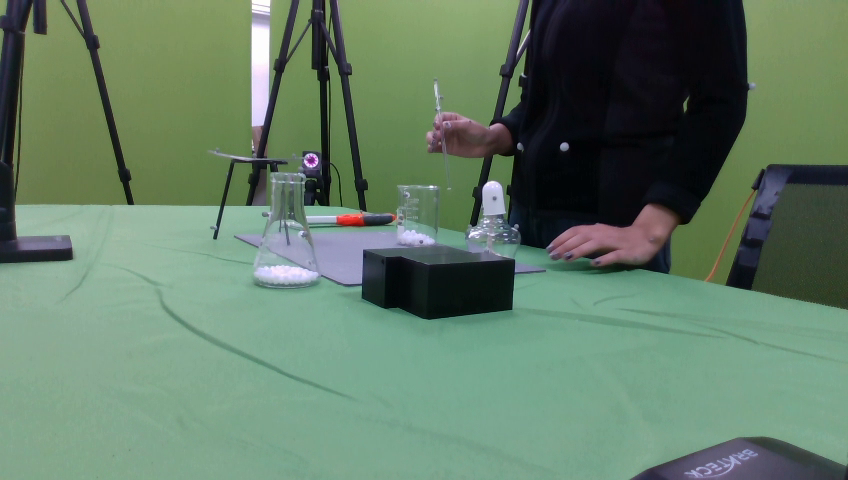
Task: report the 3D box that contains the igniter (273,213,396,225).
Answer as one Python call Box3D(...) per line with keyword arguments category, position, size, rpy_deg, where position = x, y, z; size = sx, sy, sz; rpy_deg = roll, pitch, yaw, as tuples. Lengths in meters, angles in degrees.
Box3D(category="igniter", position=(-0.179, -0.044, 1.258), size=(0.278, 0.025, 0.057), rpy_deg=(-3, -2, -39))

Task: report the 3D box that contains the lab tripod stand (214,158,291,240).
Box3D(category="lab tripod stand", position=(-0.268, -0.068, 1.002), size=(0.148, 0.131, 0.148), rpy_deg=(3, 6, 0))

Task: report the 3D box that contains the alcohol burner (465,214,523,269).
Box3D(category="alcohol burner", position=(0.094, -0.022, 0.815), size=(0.078, 0.119, 0.078), rpy_deg=(0, 7, 0))

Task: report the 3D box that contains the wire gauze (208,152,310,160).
Box3D(category="wire gauze", position=(-0.270, -0.135, 0.993), size=(0.124, 0.011, 0.122), rpy_deg=(8, 8, 41))

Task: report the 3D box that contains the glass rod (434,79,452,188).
Box3D(category="glass rod", position=(0.033, -0.185, 1.046), size=(0.008, 0.199, 0.008), rpy_deg=(-7, -10, -1))

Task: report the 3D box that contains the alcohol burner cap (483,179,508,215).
Box3D(category="alcohol burner cap", position=(0.094, -0.057, 0.810), size=(0.034, 0.048, 0.034), rpy_deg=(-8, 6, 1))

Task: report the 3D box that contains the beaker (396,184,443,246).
Box3D(category="beaker", position=(-0.011, -0.043, 1.004), size=(0.083, 0.100, 0.074), rpy_deg=(8, 9, 39))

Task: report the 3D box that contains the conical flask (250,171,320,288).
Box3D(category="conical flask", position=(-0.150, -0.013, 0.658), size=(0.075, 0.122, 0.075), rpy_deg=(2, 7, 0))
